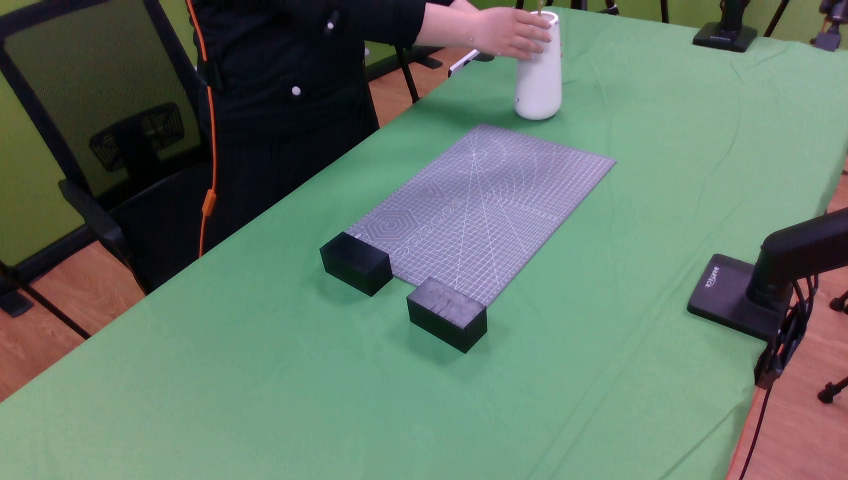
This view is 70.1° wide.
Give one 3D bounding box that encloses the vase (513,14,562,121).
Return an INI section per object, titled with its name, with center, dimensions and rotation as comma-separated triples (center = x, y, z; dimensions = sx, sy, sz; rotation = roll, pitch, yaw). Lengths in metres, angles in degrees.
[vase]
center = 0.225, -0.336, 1.196
dimensions = 0.098, 0.201, 0.097
rotation = -5, 42, 5

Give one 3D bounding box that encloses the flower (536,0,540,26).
[flower]
center = 0.213, -0.386, 1.130
dimensions = 0.044, 0.363, 0.038
rotation = -5, 58, 5
